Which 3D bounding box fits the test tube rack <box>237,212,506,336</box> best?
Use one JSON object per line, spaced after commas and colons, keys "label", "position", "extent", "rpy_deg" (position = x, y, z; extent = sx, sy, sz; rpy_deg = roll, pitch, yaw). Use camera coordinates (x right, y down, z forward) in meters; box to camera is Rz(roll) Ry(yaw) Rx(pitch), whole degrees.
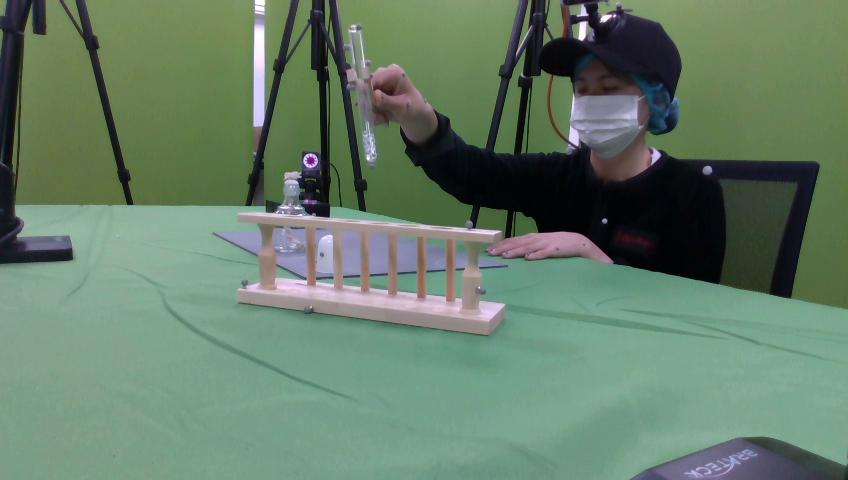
{"label": "test tube rack", "position": [-0.049, 0.024, 0.552], "extent": [0.242, 0.085, 0.067], "rpy_deg": [5, 8, 18]}

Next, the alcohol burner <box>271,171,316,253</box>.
{"label": "alcohol burner", "position": [-0.196, -0.041, 0.884], "extent": [0.078, 0.119, 0.078], "rpy_deg": [3, 5, 0]}

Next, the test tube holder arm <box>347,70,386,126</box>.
{"label": "test tube holder arm", "position": [-0.067, -0.169, 0.733], "extent": [0.013, 0.015, 0.178], "rpy_deg": [-4, -5, 5]}

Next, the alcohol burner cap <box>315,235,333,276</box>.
{"label": "alcohol burner cap", "position": [-0.116, 0.018, 0.728], "extent": [0.034, 0.048, 0.034], "rpy_deg": [3, 6, 0]}

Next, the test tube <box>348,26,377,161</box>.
{"label": "test tube", "position": [-0.067, -0.161, 0.663], "extent": [0.017, 0.150, 0.017], "rpy_deg": [-7, -3, 0]}

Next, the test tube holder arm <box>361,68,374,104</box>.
{"label": "test tube holder arm", "position": [-0.064, -0.173, 0.688], "extent": [0.010, 0.015, 0.088], "rpy_deg": [-4, -5, -3]}
